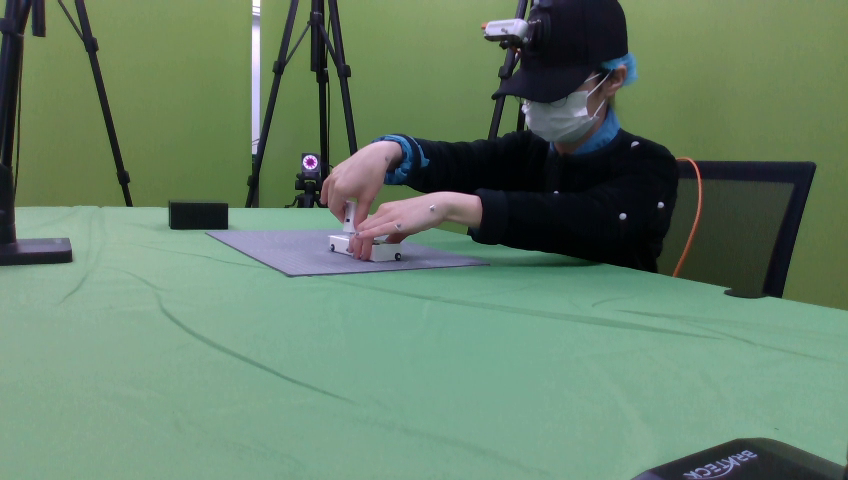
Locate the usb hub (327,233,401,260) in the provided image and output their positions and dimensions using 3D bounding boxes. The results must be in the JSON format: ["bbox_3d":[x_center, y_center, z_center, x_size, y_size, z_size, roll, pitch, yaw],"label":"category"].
[{"bbox_3d":[-0.092,0.008,0.892,0.050,0.025,0.124,-5,10,-40],"label":"usb hub"}]

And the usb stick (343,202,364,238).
[{"bbox_3d":[-0.107,-0.028,0.916,0.027,0.059,0.021,-3,7,-42],"label":"usb stick"}]
